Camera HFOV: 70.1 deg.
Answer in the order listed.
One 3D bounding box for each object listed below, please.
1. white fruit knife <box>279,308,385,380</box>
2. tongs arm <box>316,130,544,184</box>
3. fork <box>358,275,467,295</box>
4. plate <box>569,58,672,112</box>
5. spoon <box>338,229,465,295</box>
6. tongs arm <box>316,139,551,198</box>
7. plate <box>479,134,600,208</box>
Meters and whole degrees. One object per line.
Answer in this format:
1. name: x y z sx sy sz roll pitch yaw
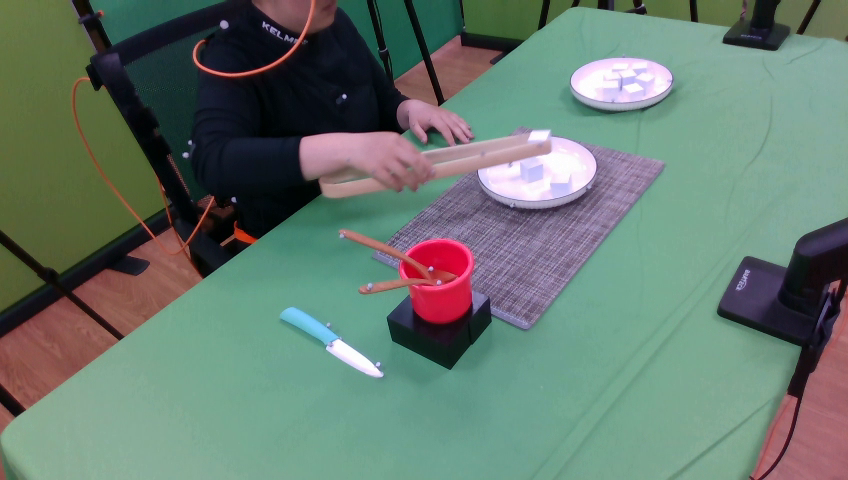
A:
1. white fruit knife: -0.130 0.143 0.845 0.205 0.016 0.027 25 79 32
2. tongs arm: 0.013 -0.136 1.011 0.388 0.028 0.028 -12 40 -3
3. fork: -0.009 0.056 0.739 0.028 0.018 0.209 48 23 26
4. plate: 0.411 -0.323 1.274 0.209 0.038 0.208 -5 41 5
5. spoon: -0.025 0.026 0.776 0.021 0.195 0.041 -41 34 31
6. tongs arm: 0.017 -0.121 0.989 0.386 0.026 0.050 -13 36 -6
7. plate: 0.202 -0.117 1.065 0.207 0.039 0.206 -5 40 5
